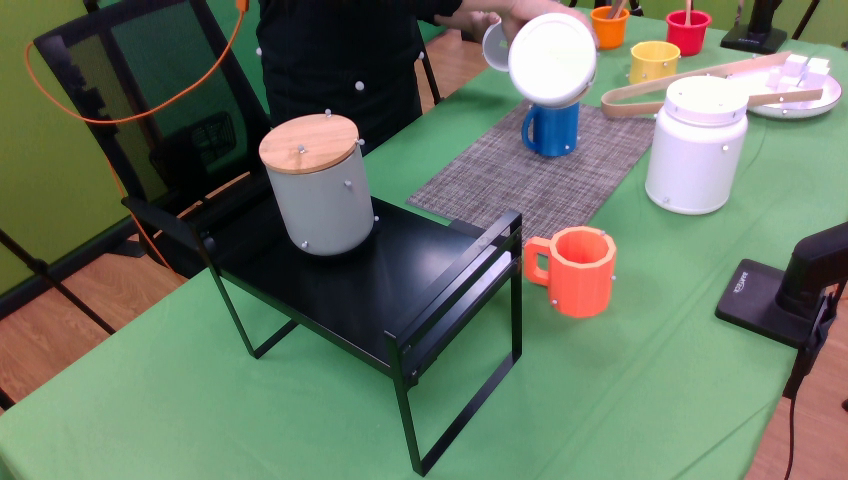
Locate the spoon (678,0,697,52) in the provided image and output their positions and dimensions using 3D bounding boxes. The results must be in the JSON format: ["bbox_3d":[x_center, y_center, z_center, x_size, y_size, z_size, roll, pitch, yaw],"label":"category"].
[{"bbox_3d":[0.614,-0.526,1.402,0.041,0.022,0.193,3,86,11],"label":"spoon"}]

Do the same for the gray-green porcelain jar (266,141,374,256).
[{"bbox_3d":[-0.117,-0.054,0.703,0.106,0.127,0.105,-4,40,4],"label":"gray-green porcelain jar"}]

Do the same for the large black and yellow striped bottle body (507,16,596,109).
[{"bbox_3d":[0.214,-0.283,0.990,0.130,0.131,0.184,6,11,16],"label":"large black and yellow striped bottle body"}]

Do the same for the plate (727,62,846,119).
[{"bbox_3d":[0.709,-0.292,1.197,0.207,0.039,0.206,-4,40,4],"label":"plate"}]

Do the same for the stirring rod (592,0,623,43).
[{"bbox_3d":[0.460,-0.557,1.461,0.014,0.176,0.006,35,11,22],"label":"stirring rod"}]

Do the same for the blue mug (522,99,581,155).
[{"bbox_3d":[0.233,-0.219,1.127,0.117,0.106,0.081,-22,43,-16],"label":"blue mug"}]

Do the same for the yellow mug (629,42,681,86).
[{"bbox_3d":[0.495,-0.389,1.321,0.100,0.064,0.130,-14,40,-6],"label":"yellow mug"}]

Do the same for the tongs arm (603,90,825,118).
[{"bbox_3d":[0.546,-0.262,1.162,0.386,0.028,0.028,-1,49,18],"label":"tongs arm"}]

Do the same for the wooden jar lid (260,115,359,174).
[{"bbox_3d":[-0.124,-0.101,0.662,0.108,0.021,0.108,-4,41,4],"label":"wooden jar lid"}]

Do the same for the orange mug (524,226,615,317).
[{"bbox_3d":[0.201,0.039,0.845,0.125,0.101,0.083,18,47,21],"label":"orange mug"}]

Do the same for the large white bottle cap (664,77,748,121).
[{"bbox_3d":[0.421,-0.212,0.905,0.115,0.018,0.114,-4,40,4],"label":"large white bottle cap"}]

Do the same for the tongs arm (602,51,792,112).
[{"bbox_3d":[0.552,-0.320,1.223,0.384,0.027,0.050,-10,43,7],"label":"tongs arm"}]

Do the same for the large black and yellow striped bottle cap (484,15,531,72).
[{"bbox_3d":[0.178,-0.398,1.228,0.115,0.115,0.018,-5,44,3],"label":"large black and yellow striped bottle cap"}]

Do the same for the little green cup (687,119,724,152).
[{"bbox_3d":[0.513,-0.191,1.109,0.061,0.039,0.061,-5,40,5],"label":"little green cup"}]

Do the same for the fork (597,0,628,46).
[{"bbox_3d":[0.479,-0.558,1.455,0.028,0.019,0.207,35,100,38],"label":"fork"}]

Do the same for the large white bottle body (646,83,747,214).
[{"bbox_3d":[0.430,-0.148,0.959,0.130,0.185,0.130,-4,41,4],"label":"large white bottle body"}]
